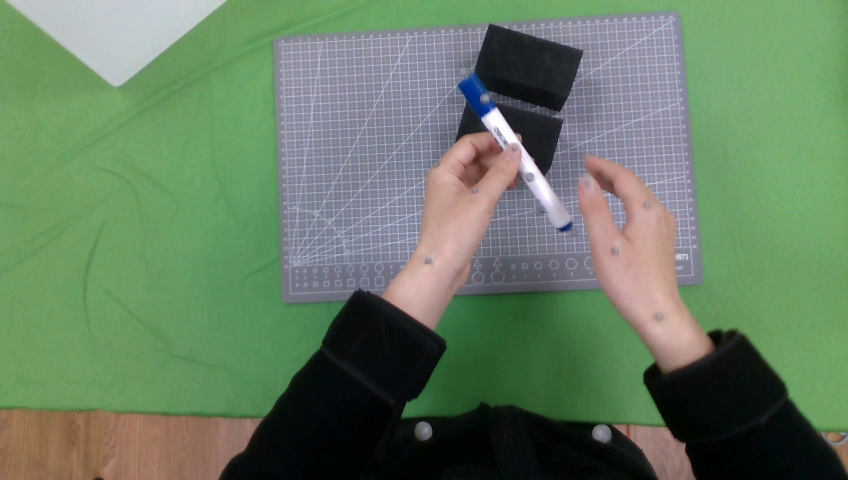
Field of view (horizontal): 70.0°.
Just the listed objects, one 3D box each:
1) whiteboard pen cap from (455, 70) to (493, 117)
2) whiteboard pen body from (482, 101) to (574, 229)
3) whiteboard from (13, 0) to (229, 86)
[{"bbox_3d":[0.040,-0.112,0.463,0.018,0.018,0.033,-40,104,-1],"label":"whiteboard pen cap"},{"bbox_3d":[0.076,-0.066,0.477,0.017,0.017,0.141,-38,104,-1],"label":"whiteboard pen body"},{"bbox_3d":[-0.343,-0.344,0.581,0.217,0.308,0.142,-38,65,0],"label":"whiteboard"}]
